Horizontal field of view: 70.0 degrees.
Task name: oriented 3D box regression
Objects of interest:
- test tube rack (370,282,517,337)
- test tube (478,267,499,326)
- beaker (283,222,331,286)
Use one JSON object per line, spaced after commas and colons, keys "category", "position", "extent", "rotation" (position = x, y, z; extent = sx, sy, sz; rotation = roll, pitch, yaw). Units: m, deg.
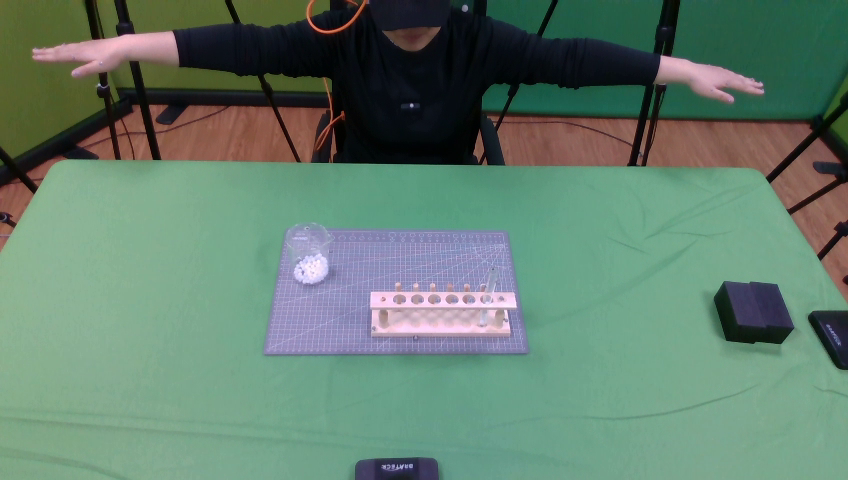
{"category": "test tube rack", "position": [0.030, 0.116, 1.041], "extent": [0.242, 0.085, 0.066], "rotation": [1, 46, -4]}
{"category": "test tube", "position": [0.105, 0.096, 0.997], "extent": [0.017, 0.151, 0.017], "rotation": [2, 49, -2]}
{"category": "beaker", "position": [-0.208, 0.028, 1.098], "extent": [0.084, 0.101, 0.073], "rotation": [2, 46, -4]}
